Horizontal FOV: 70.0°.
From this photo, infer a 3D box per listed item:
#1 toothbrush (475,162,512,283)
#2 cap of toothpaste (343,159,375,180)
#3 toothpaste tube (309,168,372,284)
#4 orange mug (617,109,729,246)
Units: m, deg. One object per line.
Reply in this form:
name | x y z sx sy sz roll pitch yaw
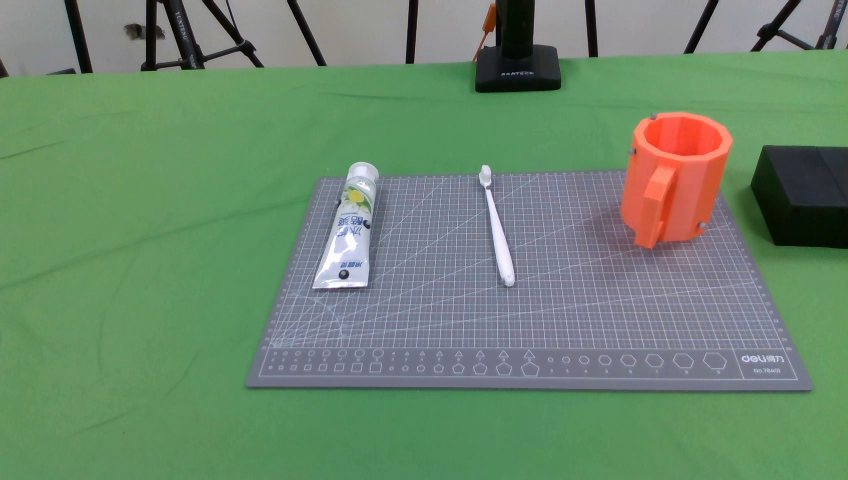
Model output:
toothbrush | 0.072 -0.024 0.626 0.014 0.017 0.180 6 42 -11
cap of toothpaste | -0.074 -0.076 0.683 0.037 0.038 0.011 -1 46 5
toothpaste tube | -0.080 -0.019 0.630 0.055 0.035 0.163 -6 45 10
orange mug | 0.231 -0.055 0.583 0.083 0.102 0.126 19 43 26
